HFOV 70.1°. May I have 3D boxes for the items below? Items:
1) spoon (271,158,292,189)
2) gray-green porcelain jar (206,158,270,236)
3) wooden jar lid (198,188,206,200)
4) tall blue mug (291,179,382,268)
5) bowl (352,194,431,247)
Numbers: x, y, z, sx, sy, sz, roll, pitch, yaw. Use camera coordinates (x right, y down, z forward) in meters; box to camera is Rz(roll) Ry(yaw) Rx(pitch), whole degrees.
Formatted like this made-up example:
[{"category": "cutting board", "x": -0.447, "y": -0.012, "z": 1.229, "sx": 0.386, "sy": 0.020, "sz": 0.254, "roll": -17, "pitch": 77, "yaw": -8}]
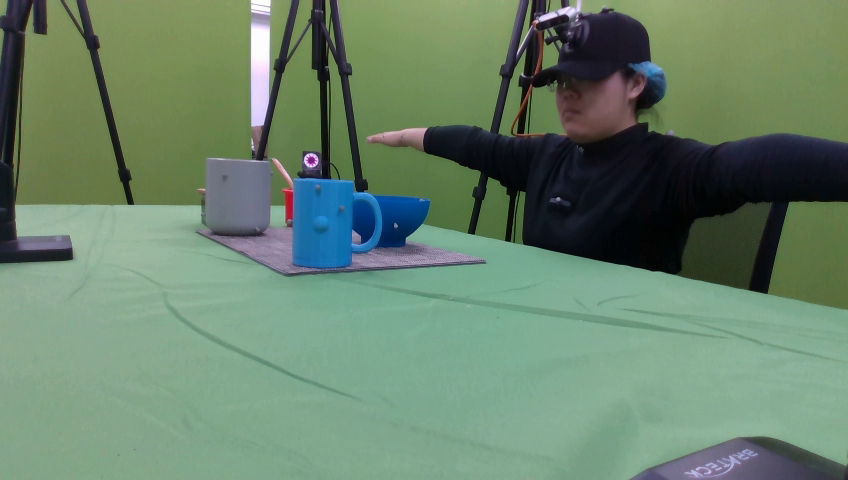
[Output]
[{"category": "spoon", "x": -0.268, "y": -0.103, "z": 1.236, "sx": 0.042, "sy": 0.021, "sz": 0.193, "roll": -10, "pitch": 58, "yaw": -39}, {"category": "gray-green porcelain jar", "x": -0.317, "y": -0.074, "z": 1.032, "sx": 0.106, "sy": 0.126, "sz": 0.106, "roll": 3, "pitch": 7, "yaw": 0}, {"category": "wooden jar lid", "x": -0.382, "y": -0.088, "z": 1.175, "sx": 0.108, "sy": 0.020, "sz": 0.108, "roll": 3, "pitch": 8, "yaw": 0}, {"category": "tall blue mug", "x": -0.116, "y": -0.023, "z": 0.779, "sx": 0.108, "sy": 0.108, "sz": 0.077, "roll": -2, "pitch": 8, "yaw": -34}, {"category": "bowl", "x": -0.066, "y": -0.032, "z": 0.984, "sx": 0.151, "sy": 0.077, "sz": 0.151, "roll": 2, "pitch": 7, "yaw": 0}]
